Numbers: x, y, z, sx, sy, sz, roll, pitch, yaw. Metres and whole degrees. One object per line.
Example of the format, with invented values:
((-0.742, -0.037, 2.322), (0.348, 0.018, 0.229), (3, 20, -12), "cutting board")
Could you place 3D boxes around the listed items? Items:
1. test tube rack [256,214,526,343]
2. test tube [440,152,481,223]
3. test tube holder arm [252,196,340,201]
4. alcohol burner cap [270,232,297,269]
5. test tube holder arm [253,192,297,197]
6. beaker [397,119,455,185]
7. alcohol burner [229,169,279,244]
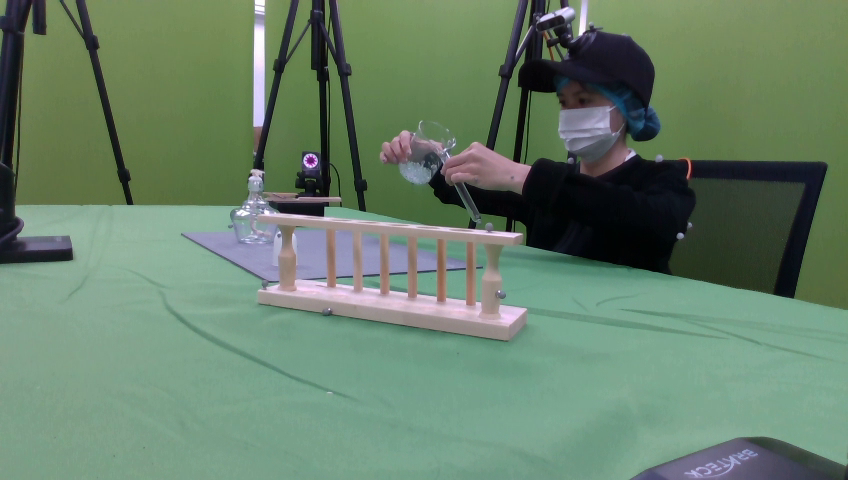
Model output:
((-0.032, 0.027, 0.547), (0.241, 0.085, 0.067), (5, 7, 22), "test tube rack")
((0.059, -0.088, 0.998), (0.017, 0.017, 0.149), (-2, 53, -33), "test tube")
((-0.260, -0.086, 1.242), (0.179, 0.013, 0.015), (-1, 7, -25), "test tube holder arm")
((-0.175, 0.012, 0.760), (0.034, 0.048, 0.034), (2, 8, 0), "alcohol burner cap")
((-0.301, -0.092, 1.223), (0.088, 0.010, 0.015), (0, 7, -25), "test tube holder arm")
((0.002, -0.154, 1.092), (0.074, 0.100, 0.083), (11, 45, -28), "beaker")
((-0.268, -0.053, 0.958), (0.078, 0.119, 0.078), (2, 6, 0), "alcohol burner")
